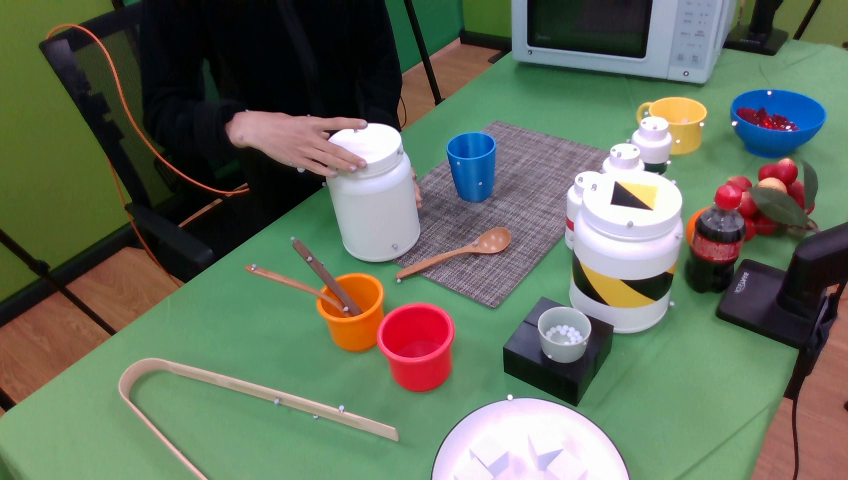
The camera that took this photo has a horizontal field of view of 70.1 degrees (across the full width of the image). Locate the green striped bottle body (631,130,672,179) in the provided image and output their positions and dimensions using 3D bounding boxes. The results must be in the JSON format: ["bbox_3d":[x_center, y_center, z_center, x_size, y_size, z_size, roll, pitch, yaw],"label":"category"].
[{"bbox_3d":[0.375,-0.140,1.007,0.063,0.120,0.063,-5,40,5],"label":"green striped bottle body"}]

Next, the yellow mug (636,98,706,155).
[{"bbox_3d":[0.453,-0.217,1.128,0.100,0.064,0.129,-34,46,-27],"label":"yellow mug"}]

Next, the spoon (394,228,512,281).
[{"bbox_3d":[0.045,0.024,0.935,0.194,0.022,0.041,-18,66,-11],"label":"spoon"}]

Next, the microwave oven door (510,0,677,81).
[{"bbox_3d":[0.354,-0.478,1.290,0.353,0.245,0.039,15,45,25],"label":"microwave oven door"}]

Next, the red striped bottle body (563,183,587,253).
[{"bbox_3d":[0.246,-0.041,0.910,0.063,0.120,0.062,-2,38,2],"label":"red striped bottle body"}]

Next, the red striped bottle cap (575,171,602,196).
[{"bbox_3d":[0.242,-0.081,0.876,0.044,0.018,0.044,-5,44,5],"label":"red striped bottle cap"}]

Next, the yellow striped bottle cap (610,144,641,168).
[{"bbox_3d":[0.307,-0.128,0.923,0.044,0.019,0.044,-6,39,5],"label":"yellow striped bottle cap"}]

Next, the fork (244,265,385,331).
[{"bbox_3d":[-0.142,0.078,0.807,0.209,0.018,0.028,30,33,-24],"label":"fork"}]

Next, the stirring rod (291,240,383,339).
[{"bbox_3d":[-0.118,0.068,0.825,0.176,0.006,0.014,48,58,-3],"label":"stirring rod"}]

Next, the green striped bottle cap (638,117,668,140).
[{"bbox_3d":[0.369,-0.180,0.974,0.044,0.020,0.044,-4,41,4],"label":"green striped bottle cap"}]

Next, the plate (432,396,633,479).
[{"bbox_3d":[0.112,0.261,0.634,0.209,0.038,0.208,-5,40,4],"label":"plate"}]

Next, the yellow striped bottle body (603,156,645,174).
[{"bbox_3d":[0.313,-0.089,0.956,0.063,0.121,0.062,-4,40,4],"label":"yellow striped bottle body"}]

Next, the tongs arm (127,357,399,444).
[{"bbox_3d":[-0.213,0.205,0.755,0.382,0.026,0.051,12,46,23],"label":"tongs arm"}]

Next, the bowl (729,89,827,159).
[{"bbox_3d":[0.615,-0.197,1.069,0.151,0.077,0.150,-5,40,5],"label":"bowl"}]

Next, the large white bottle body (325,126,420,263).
[{"bbox_3d":[-0.079,-0.071,0.939,0.130,0.185,0.130,-4,40,4],"label":"large white bottle body"}]

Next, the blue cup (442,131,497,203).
[{"bbox_3d":[0.085,-0.121,1.039,0.092,0.101,0.092,-5,41,5],"label":"blue cup"}]

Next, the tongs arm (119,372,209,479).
[{"bbox_3d":[-0.258,0.257,0.700,0.384,0.028,0.028,24,55,34],"label":"tongs arm"}]

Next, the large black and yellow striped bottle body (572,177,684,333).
[{"bbox_3d":[0.262,0.017,0.788,0.131,0.185,0.130,-5,40,4],"label":"large black and yellow striped bottle body"}]

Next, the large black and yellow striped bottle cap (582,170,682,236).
[{"bbox_3d":[0.252,-0.048,0.735,0.115,0.019,0.114,-3,40,3],"label":"large black and yellow striped bottle cap"}]

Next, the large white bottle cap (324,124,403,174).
[{"bbox_3d":[-0.088,-0.135,0.885,0.115,0.018,0.114,-4,40,4],"label":"large white bottle cap"}]

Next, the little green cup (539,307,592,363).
[{"bbox_3d":[0.168,0.115,0.721,0.061,0.039,0.061,-4,42,4],"label":"little green cup"}]

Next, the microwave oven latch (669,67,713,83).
[{"bbox_3d":[0.556,-0.349,1.261,0.078,0.029,0.030,16,46,27],"label":"microwave oven latch"}]

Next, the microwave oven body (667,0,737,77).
[{"bbox_3d":[0.462,-0.552,1.369,0.439,0.261,0.326,14,45,26],"label":"microwave oven body"}]
